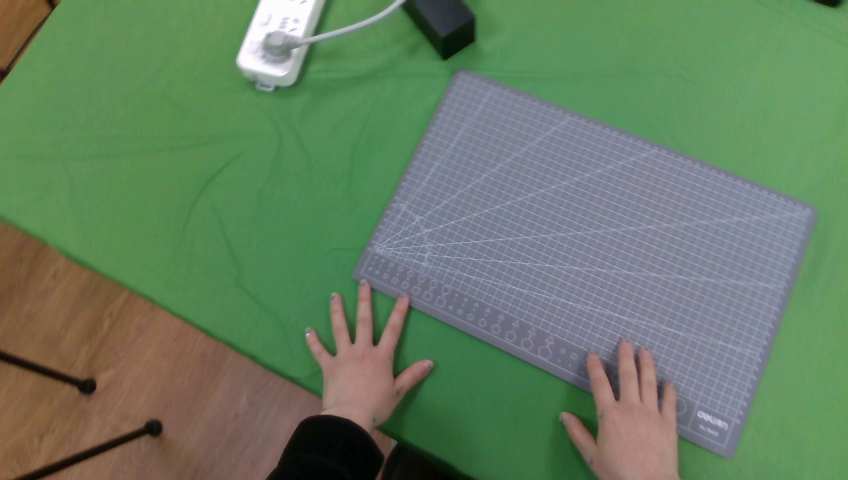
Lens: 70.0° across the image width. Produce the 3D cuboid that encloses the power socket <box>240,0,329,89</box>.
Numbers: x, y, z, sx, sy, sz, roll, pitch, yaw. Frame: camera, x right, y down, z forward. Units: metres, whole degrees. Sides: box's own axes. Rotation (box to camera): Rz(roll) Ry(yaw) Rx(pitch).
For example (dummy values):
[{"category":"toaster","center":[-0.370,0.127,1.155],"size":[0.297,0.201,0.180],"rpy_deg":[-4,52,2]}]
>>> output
[{"category":"power socket","center":[-0.166,-0.301,0.778],"size":[0.072,0.033,0.226],"rpy_deg":[17,77,7]}]

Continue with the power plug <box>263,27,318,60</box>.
[{"category":"power plug","center":[-0.163,-0.230,0.737],"size":[0.072,0.053,0.035],"rpy_deg":[26,78,10]}]
